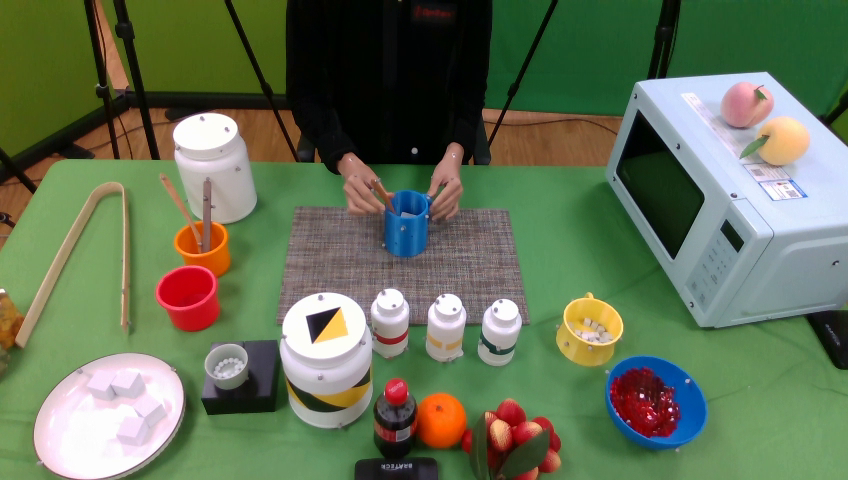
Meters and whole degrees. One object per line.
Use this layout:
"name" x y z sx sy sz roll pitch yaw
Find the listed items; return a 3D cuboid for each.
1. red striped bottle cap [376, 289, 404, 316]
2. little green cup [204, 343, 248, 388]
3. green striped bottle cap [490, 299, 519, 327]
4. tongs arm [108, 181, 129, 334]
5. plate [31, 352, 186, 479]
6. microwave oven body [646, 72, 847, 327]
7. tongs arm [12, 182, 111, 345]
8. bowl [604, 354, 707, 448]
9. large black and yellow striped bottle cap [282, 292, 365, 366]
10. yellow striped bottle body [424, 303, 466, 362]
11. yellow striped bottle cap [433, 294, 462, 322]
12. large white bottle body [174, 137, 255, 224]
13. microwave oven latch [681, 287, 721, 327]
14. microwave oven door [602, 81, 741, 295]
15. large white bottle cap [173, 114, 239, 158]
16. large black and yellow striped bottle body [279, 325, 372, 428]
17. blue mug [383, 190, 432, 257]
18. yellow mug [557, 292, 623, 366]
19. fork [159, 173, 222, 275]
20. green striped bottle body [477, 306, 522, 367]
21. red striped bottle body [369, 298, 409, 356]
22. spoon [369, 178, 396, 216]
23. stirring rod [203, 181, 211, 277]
"red striped bottle cap" -0.055 0.098 0.959 0.044 0.018 0.044 0 48 0
"little green cup" -0.294 0.190 0.909 0.061 0.039 0.061 1 48 0
"green striped bottle cap" 0.128 0.115 0.958 0.044 0.020 0.044 1 47 -1
"tongs arm" -0.571 0.019 1.123 0.051 0.026 0.382 -10 47 -12
"plate" -0.459 0.262 0.898 0.209 0.038 0.208 2 45 -2
"microwave oven body" 0.607 -0.089 1.164 0.326 0.261 0.438 -7 46 -10
"tongs arm" -0.657 0.027 1.109 0.028 0.028 0.385 -2 45 1
"bowl" 0.346 0.261 0.937 0.151 0.077 0.150 2 46 -2
"large black and yellow striped bottle cap" -0.139 0.121 0.841 0.115 0.019 0.114 3 47 -3
"yellow striped bottle body" 0.035 0.143 0.995 0.063 0.121 0.062 3 46 -3
"yellow striped bottle cap" 0.037 0.107 0.958 0.044 0.019 0.044 2 45 -2
"large white bottle body" -0.408 -0.136 1.183 0.131 0.185 0.130 2 46 -2
"microwave oven latch" 0.494 0.119 1.087 0.030 0.029 0.078 -6 46 -9
"microwave oven door" 0.456 -0.107 1.162 0.039 0.245 0.353 -7 47 -11
"large white bottle cap" -0.403 -0.195 1.122 0.115 0.018 0.114 2 47 -2
"large black and yellow striped bottle body" -0.143 0.181 0.900 0.131 0.185 0.130 2 46 -2
"blue mug" -0.026 -0.039 1.172 0.082 0.106 0.116 34 53 26
"yellow mug" 0.285 0.145 1.051 0.100 0.064 0.130 7 45 4
"fork" -0.427 -0.029 1.103 0.028 0.018 0.207 -31 99 -31
"green striped bottle body" 0.124 0.151 0.995 0.063 0.120 0.063 2 46 -2
"red striped bottle body" -0.058 0.134 0.997 0.063 0.120 0.062 4 47 -4
"spoon" -0.065 -0.057 1.106 0.041 0.195 0.021 17 64 26
"stirring rod" -0.396 -0.021 1.107 0.014 0.006 0.176 -1 89 -1
